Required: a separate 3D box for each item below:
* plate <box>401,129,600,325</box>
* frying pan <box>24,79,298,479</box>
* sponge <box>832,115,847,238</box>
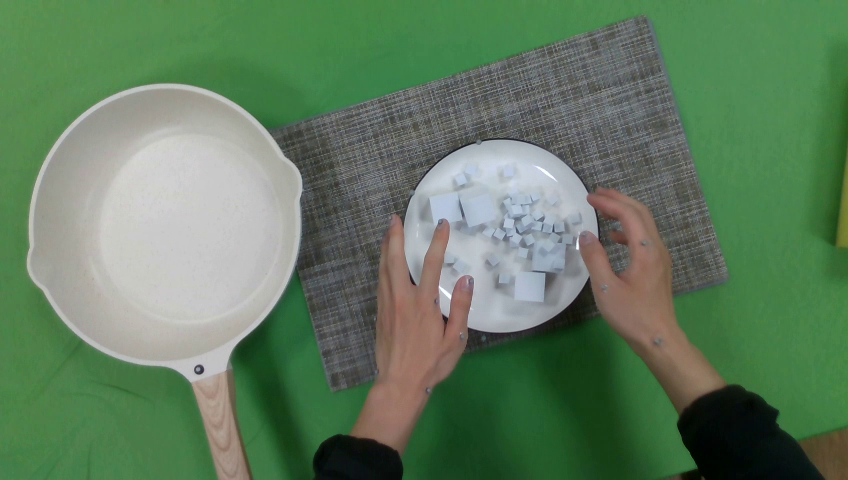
[{"bbox_3d":[0.080,-0.013,0.650,0.207,0.039,0.207,0,88,4],"label":"plate"},{"bbox_3d":[-0.241,0.076,0.637,0.307,0.103,0.485,-18,80,5],"label":"frying pan"},{"bbox_3d":[0.506,-0.098,0.618,0.118,0.061,0.206,7,89,5],"label":"sponge"}]
